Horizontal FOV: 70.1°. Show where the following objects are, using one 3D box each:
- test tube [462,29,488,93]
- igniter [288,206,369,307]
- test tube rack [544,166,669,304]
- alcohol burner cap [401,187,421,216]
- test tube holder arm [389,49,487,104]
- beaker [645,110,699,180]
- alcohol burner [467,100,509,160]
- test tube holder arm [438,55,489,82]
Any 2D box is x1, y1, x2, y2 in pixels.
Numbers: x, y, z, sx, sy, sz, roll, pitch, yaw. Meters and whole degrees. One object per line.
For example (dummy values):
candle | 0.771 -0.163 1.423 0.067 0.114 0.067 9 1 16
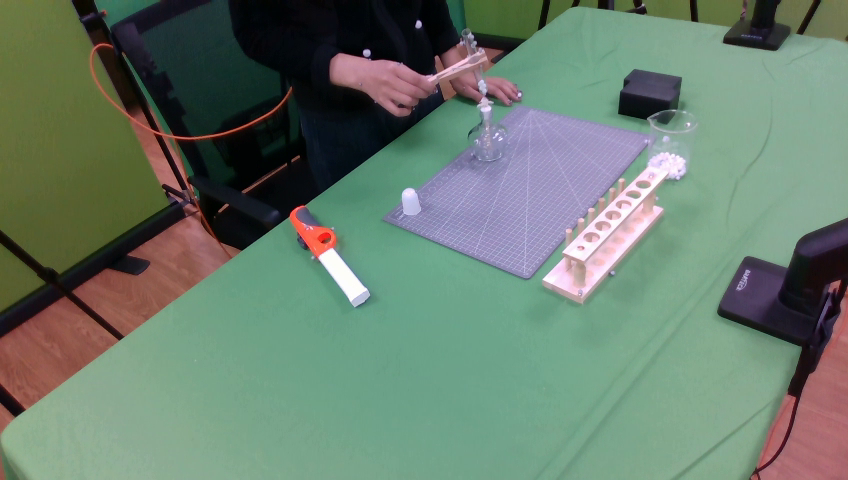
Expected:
test tube | 0.087 -0.297 1.015 0.017 0.151 0.017 -7 64 15
igniter | -0.163 0.017 0.986 0.057 0.025 0.274 -33 45 -12
test tube rack | 0.274 -0.018 0.903 0.066 0.085 0.243 26 51 35
alcohol burner cap | -0.025 -0.070 1.048 0.034 0.048 0.033 -5 41 5
test tube holder arm | 0.023 -0.276 1.026 0.178 0.015 0.013 -24 61 11
beaker | 0.417 -0.160 1.032 0.083 0.101 0.074 25 51 35
alcohol burner | 0.118 -0.210 1.131 0.078 0.119 0.077 -5 42 5
test tube holder arm | 0.065 -0.287 1.014 0.087 0.015 0.010 -17 63 14
